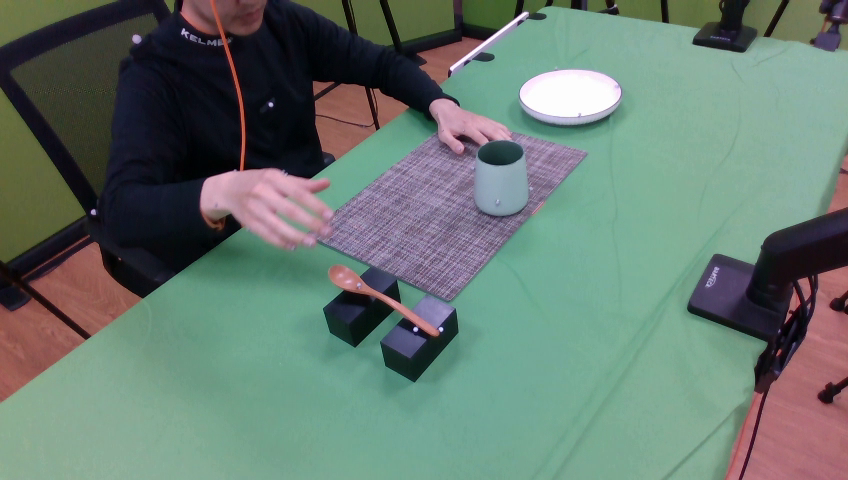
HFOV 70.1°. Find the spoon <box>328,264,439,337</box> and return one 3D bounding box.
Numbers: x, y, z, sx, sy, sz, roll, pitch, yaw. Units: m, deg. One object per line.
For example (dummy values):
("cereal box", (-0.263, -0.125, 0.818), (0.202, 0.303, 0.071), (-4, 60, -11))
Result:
("spoon", (-0.056, 0.079, 0.807), (0.192, 0.022, 0.042), (26, 36, 32))

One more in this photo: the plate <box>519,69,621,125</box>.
("plate", (0.300, -0.293, 1.253), (0.209, 0.038, 0.208), (-4, 41, 4))

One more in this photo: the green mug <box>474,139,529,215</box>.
("green mug", (0.126, -0.113, 1.013), (0.092, 0.105, 0.124), (-8, 41, 0))
